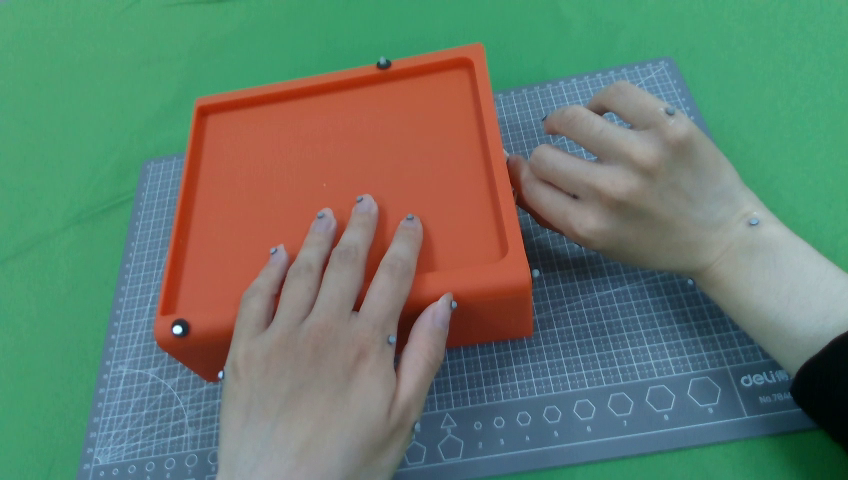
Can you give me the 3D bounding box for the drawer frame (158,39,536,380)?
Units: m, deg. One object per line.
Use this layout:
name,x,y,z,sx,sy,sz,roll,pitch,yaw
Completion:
drawer frame,-0.045,-0.023,0.406,0.213,0.083,0.199,-10,57,6

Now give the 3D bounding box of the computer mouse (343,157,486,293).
computer mouse,-0.006,-0.017,0.408,0.062,0.041,0.116,11,52,26

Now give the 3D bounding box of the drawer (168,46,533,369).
drawer,-0.044,-0.025,0.406,0.211,0.074,0.192,-8,57,5
